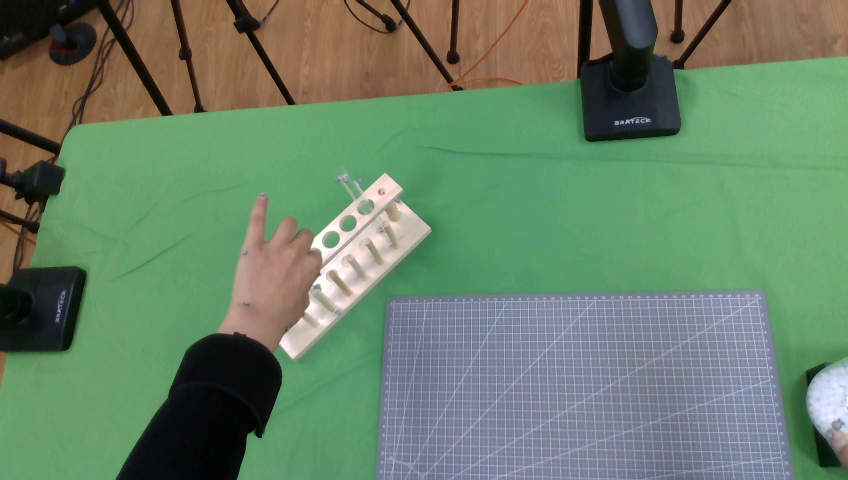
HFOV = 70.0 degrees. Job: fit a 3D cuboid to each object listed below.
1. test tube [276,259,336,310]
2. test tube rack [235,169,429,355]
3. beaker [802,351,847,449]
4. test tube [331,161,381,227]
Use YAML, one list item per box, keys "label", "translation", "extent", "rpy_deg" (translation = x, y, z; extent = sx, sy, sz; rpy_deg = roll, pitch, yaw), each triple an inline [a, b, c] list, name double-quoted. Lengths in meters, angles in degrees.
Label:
- label: "test tube"
  translation: [-0.136, 0.054, 0.708]
  extent: [0.017, 0.152, 0.017]
  rpy_deg: [-5, 66, 12]
- label: "test tube rack"
  translation: [-0.109, 0.030, 0.760]
  extent: [0.242, 0.086, 0.066]
  rpy_deg: [-43, 68, -7]
- label: "beaker"
  translation: [0.320, 0.111, 0.429]
  extent: [0.084, 0.101, 0.073]
  rpy_deg: [-17, 65, 4]
- label: "test tube"
  translation: [-0.078, -0.052, 0.731]
  extent: [0.017, 0.151, 0.017]
  rpy_deg: [-5, 66, 12]
